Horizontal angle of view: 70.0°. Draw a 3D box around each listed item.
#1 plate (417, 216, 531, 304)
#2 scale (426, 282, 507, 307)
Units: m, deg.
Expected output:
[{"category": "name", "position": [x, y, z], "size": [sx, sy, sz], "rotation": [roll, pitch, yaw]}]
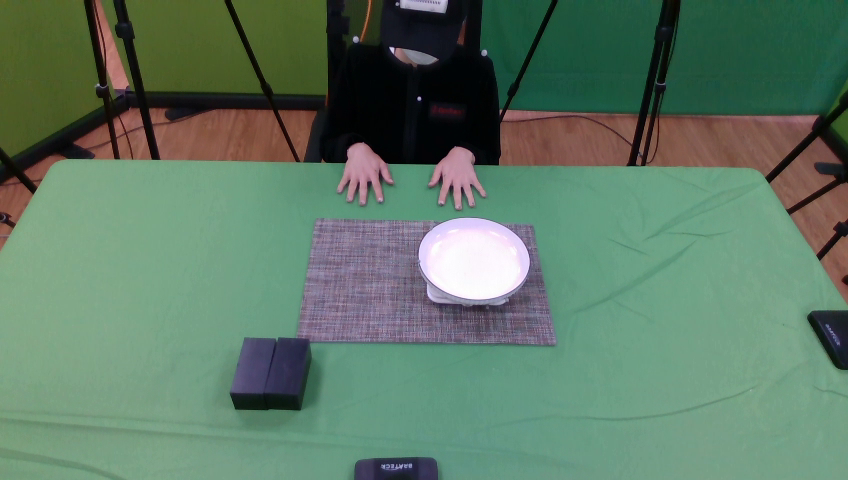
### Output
[{"category": "plate", "position": [0.089, 0.039, 1.110], "size": [0.208, 0.039, 0.206], "rotation": [2, 46, -1]}, {"category": "scale", "position": [0.078, 0.043, 1.152], "size": [0.149, 0.032, 0.199], "rotation": [3, 45, -2]}]
